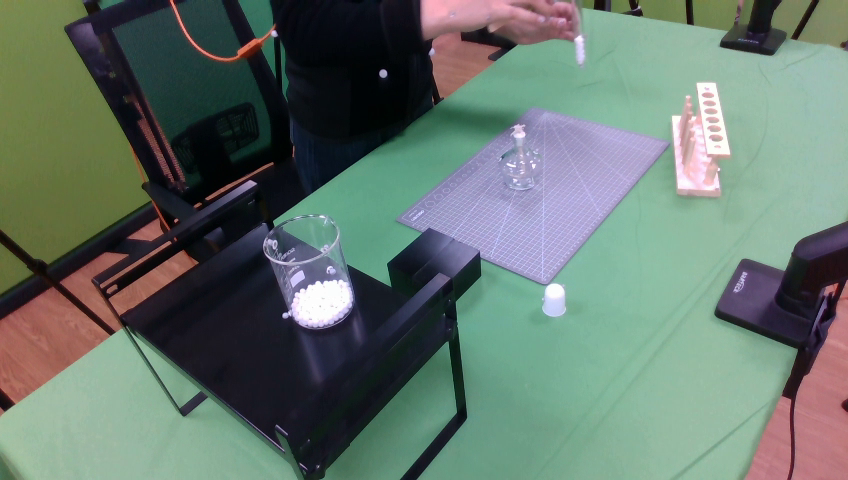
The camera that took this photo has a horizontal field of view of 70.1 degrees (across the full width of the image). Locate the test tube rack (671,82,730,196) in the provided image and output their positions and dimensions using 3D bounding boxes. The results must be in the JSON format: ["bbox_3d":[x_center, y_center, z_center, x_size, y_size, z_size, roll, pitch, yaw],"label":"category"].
[{"bbox_3d":[0.482,-0.184,1.067,0.066,0.085,0.242,5,42,15],"label":"test tube rack"}]

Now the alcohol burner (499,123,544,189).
[{"bbox_3d":[0.168,-0.149,1.048,0.078,0.119,0.077,-6,41,5],"label":"alcohol burner"}]

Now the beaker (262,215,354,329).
[{"bbox_3d":[-0.112,0.034,0.616,0.073,0.101,0.084,13,44,22],"label":"beaker"}]

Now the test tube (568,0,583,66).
[{"bbox_3d":[0.227,-0.331,0.909,0.017,0.151,0.017,-10,44,10],"label":"test tube"}]

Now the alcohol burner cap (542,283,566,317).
[{"bbox_3d":[0.181,0.080,0.839,0.034,0.048,0.033,-3,40,3],"label":"alcohol burner cap"}]

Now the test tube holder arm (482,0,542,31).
[{"bbox_3d":[0.157,-0.340,0.847,0.179,0.015,0.013,-32,50,-11],"label":"test tube holder arm"}]
